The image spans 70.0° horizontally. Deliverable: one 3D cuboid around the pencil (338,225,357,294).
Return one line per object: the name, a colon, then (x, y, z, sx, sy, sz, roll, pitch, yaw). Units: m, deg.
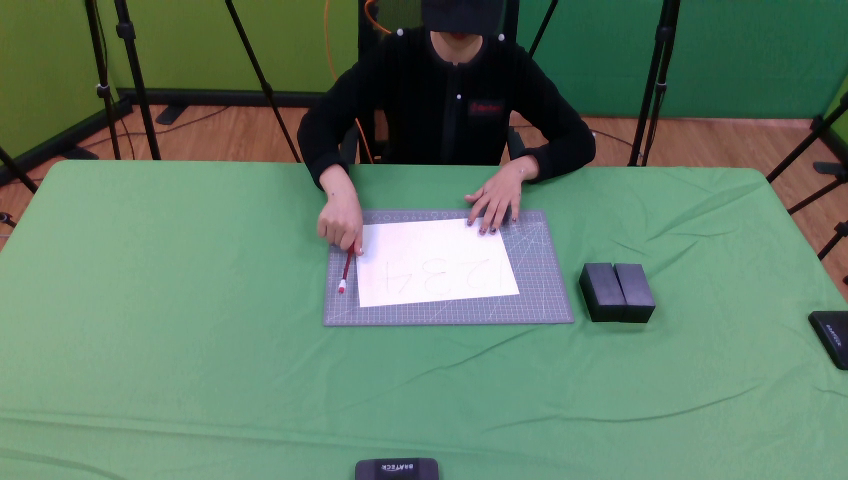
pencil: (-0.141, 0.032, 1.134, 0.012, 0.012, 0.193, 4, 39, 1)
